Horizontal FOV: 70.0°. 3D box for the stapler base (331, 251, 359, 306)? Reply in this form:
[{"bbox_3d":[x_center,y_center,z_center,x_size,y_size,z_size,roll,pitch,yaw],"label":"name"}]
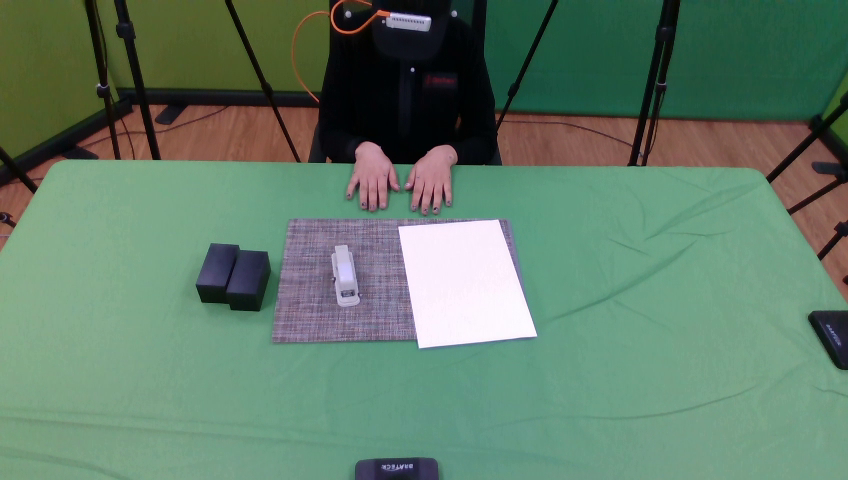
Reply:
[{"bbox_3d":[-0.147,0.064,1.120,0.041,0.024,0.129,-4,45,-13],"label":"stapler base"}]

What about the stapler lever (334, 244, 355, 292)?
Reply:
[{"bbox_3d":[-0.146,0.045,1.103,0.027,0.040,0.117,-4,45,-12],"label":"stapler lever"}]
